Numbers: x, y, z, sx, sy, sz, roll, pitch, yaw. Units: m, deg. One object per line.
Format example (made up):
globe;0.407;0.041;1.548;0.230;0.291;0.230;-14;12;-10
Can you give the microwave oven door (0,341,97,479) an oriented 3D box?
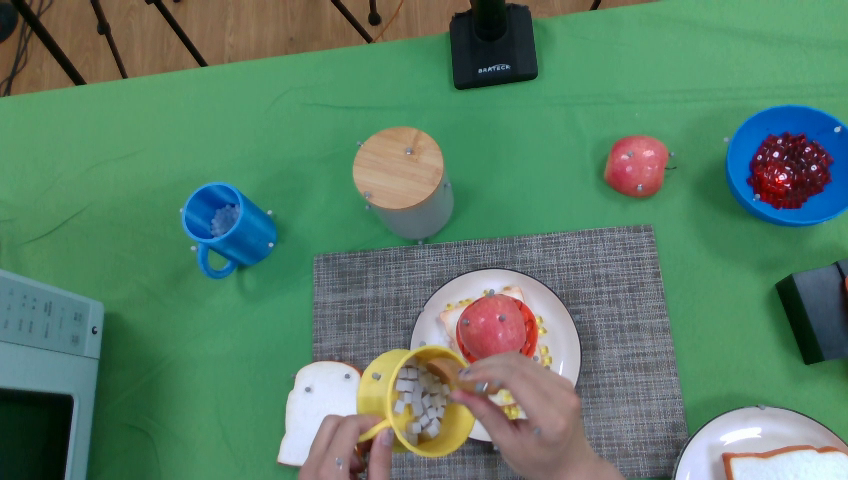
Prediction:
microwave oven door;-0.466;0.291;0.655;0.039;0.245;0.353;-5;72;8

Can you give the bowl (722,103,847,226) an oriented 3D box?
bowl;0.430;-0.080;0.730;0.151;0.077;0.150;-3;73;9

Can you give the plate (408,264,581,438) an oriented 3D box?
plate;0.084;0.134;0.739;0.207;0.039;0.206;-3;73;9

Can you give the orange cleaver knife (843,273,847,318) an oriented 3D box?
orange cleaver knife;0.494;0.139;0.651;0.012;0.077;0.211;-15;93;-3

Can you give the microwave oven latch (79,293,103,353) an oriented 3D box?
microwave oven latch;-0.456;0.112;0.815;0.030;0.030;0.078;-1;74;8

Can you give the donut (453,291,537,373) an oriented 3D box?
donut;0.084;0.109;0.717;0.099;0.048;0.098;-3;73;9

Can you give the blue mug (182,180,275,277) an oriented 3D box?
blue mug;-0.263;-0.006;0.805;0.082;0.106;0.116;15;76;13

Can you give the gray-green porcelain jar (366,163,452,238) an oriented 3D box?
gray-green porcelain jar;-0.020;-0.065;0.773;0.106;0.127;0.105;-3;72;9

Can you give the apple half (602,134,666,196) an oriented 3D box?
apple half;0.271;-0.103;0.777;0.074;0.054;0.080;16;77;16

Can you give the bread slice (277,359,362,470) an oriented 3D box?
bread slice;-0.127;0.215;0.759;0.105;0.019;0.131;2;75;8

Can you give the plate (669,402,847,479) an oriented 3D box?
plate;0.369;0.281;0.651;0.209;0.038;0.208;-3;73;9

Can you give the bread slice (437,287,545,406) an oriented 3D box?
bread slice;0.089;0.133;0.744;0.107;0.018;0.133;-22;67;1

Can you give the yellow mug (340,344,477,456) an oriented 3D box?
yellow mug;-0.020;0.156;0.571;0.131;0.064;0.100;-22;90;-34

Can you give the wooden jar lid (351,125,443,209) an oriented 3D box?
wooden jar lid;-0.031;-0.084;0.713;0.108;0.021;0.107;-2;70;6

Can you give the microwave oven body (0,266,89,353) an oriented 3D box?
microwave oven body;-0.610;0.265;0.691;0.326;0.262;0.439;-5;73;7

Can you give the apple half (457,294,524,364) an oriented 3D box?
apple half;0.075;0.098;0.683;0.081;0.033;0.081;-5;71;14

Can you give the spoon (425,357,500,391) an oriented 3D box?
spoon;0.032;0.113;0.499;0.042;0.193;0.021;25;81;-5
